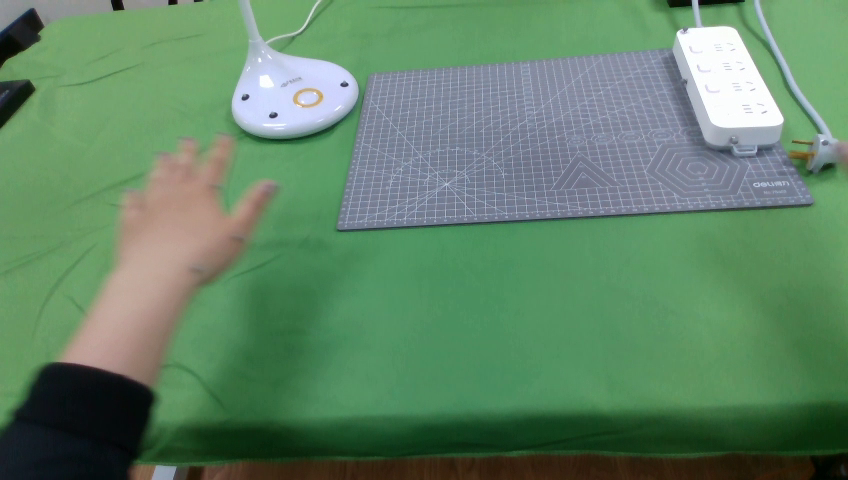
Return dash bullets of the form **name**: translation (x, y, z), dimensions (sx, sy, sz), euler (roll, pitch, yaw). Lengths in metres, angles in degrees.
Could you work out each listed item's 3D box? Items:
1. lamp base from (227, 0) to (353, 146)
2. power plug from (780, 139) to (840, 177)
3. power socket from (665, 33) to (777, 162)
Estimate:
- **lamp base**: translation (-0.188, -0.229, 0.722), dimensions (0.177, 0.182, 0.160), euler (27, 55, 35)
- **power plug**: translation (0.376, -0.082, 0.598), dimensions (0.052, 0.035, 0.072), euler (10, 13, 14)
- **power socket**: translation (0.325, -0.168, 0.677), dimensions (0.072, 0.033, 0.224), euler (-1, 45, 8)
